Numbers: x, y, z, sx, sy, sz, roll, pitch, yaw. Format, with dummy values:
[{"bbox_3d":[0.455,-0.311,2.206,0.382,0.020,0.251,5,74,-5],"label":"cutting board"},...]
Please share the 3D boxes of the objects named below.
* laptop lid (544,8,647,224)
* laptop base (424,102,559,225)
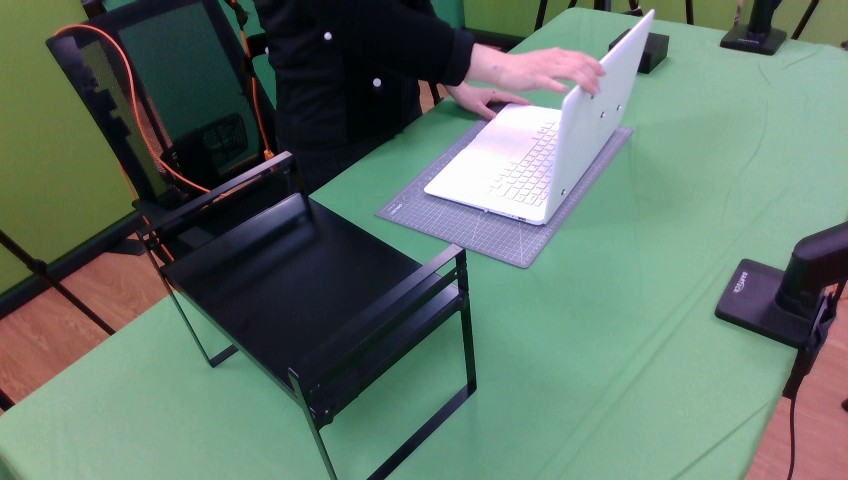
[{"bbox_3d":[0.286,-0.208,0.994,0.013,0.242,0.357,23,47,24],"label":"laptop lid"},{"bbox_3d":[0.188,-0.156,1.131,0.234,0.023,0.355,16,46,30],"label":"laptop base"}]
